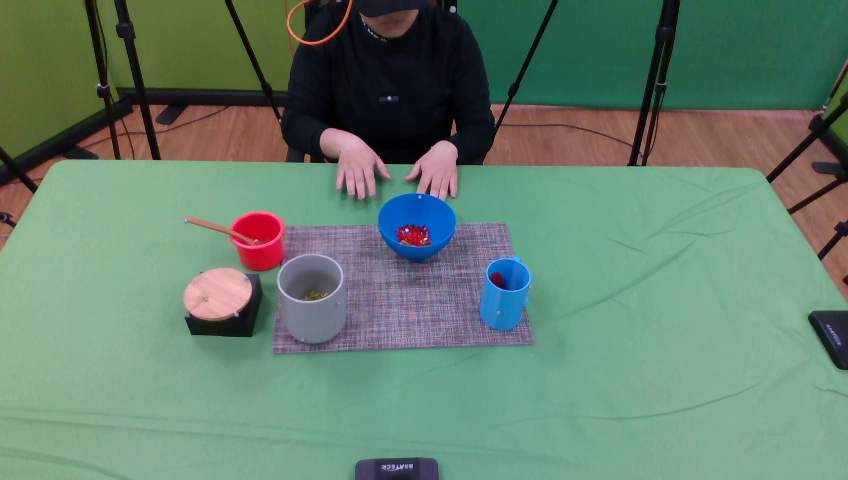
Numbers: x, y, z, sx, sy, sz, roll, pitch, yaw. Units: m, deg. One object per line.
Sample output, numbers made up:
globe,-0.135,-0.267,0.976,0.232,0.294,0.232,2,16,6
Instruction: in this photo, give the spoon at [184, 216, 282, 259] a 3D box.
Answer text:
spoon,-0.341,-0.008,1.096,0.195,0.021,0.041,29,35,-41

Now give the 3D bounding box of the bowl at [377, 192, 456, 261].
bowl,-0.015,-0.013,1.166,0.151,0.077,0.150,2,46,-2

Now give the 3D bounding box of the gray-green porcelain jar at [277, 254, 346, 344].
gray-green porcelain jar,-0.184,0.102,1.008,0.106,0.127,0.105,2,46,-2

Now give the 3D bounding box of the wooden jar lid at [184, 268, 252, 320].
wooden jar lid,-0.343,0.092,1.015,0.108,0.021,0.107,3,46,-3

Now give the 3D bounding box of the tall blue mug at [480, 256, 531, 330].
tall blue mug,0.139,0.084,1.061,0.078,0.108,0.106,-2,46,-4
